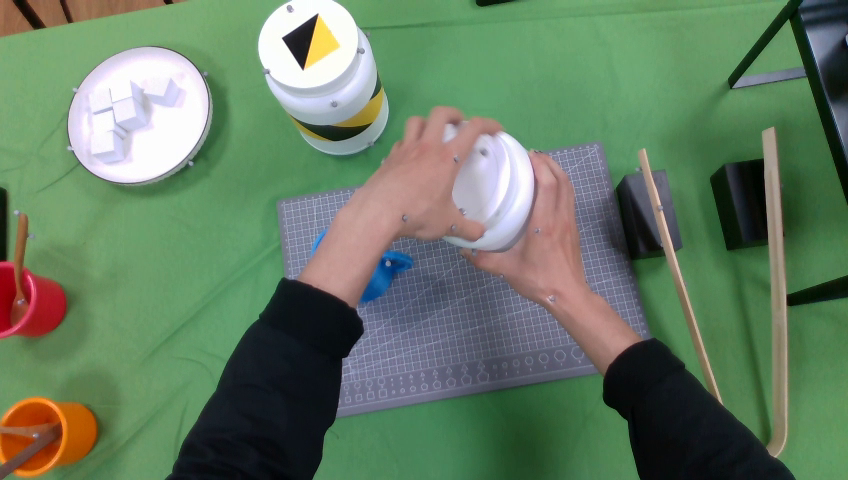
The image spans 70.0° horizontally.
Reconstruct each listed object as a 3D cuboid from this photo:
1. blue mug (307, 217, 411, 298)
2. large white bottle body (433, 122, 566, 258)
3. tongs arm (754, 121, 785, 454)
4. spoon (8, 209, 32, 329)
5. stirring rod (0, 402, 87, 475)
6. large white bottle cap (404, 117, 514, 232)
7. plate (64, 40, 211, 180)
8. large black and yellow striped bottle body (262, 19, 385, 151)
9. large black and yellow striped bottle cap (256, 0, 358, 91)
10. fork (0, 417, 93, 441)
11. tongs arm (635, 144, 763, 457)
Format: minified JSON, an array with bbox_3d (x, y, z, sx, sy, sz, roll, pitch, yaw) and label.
[{"bbox_3d":[-0.074,0.023,0.751,0.116,0.106,0.082,-3,77,4],"label":"blue mug"},{"bbox_3d":[0.073,-0.054,0.675,0.130,0.186,0.130,-5,80,27],"label":"large white bottle body"},{"bbox_3d":[0.403,0.054,0.713,0.028,0.028,0.387,-1,89,-4],"label":"tongs arm"},{"bbox_3d":[-0.511,0.041,0.763,0.041,0.021,0.195,36,126,14],"label":"spoon"},{"bbox_3d":[-0.480,0.254,0.718,0.014,0.006,0.176,36,40,8],"label":"stirring rod"},{"bbox_3d":[0.033,-0.065,0.600,0.114,0.018,0.114,-4,81,26],"label":"large white bottle cap"},{"bbox_3d":[-0.399,-0.181,0.857,0.207,0.039,0.206,-1,78,4],"label":"plate"},{"bbox_3d":[-0.125,-0.204,0.766,0.131,0.185,0.130,-1,77,4],"label":"large black and yellow striped bottle body"},{"bbox_3d":[-0.133,-0.225,0.686,0.115,0.019,0.114,-1,79,3],"label":"large black and yellow striped bottle cap"},{"bbox_3d":[-0.510,0.221,0.721,0.209,0.018,0.028,18,73,-36],"label":"fork"},{"bbox_3d":[0.323,0.068,0.713,0.051,0.026,0.384,-14,89,-1],"label":"tongs arm"}]
